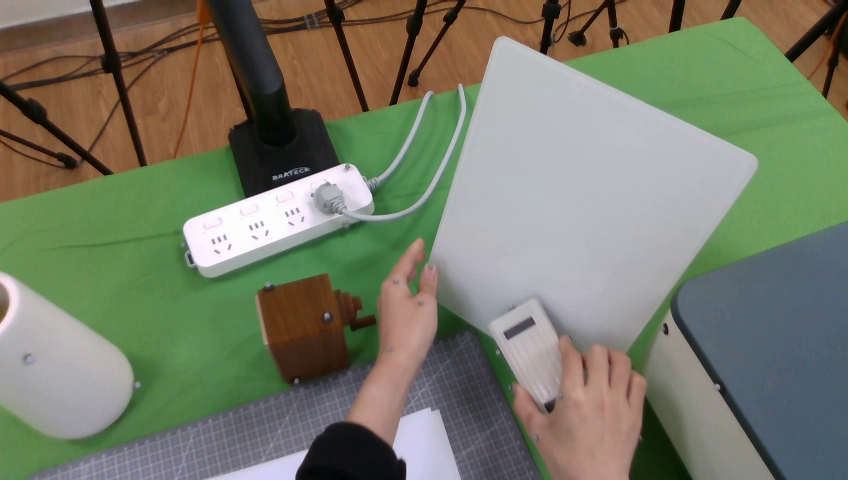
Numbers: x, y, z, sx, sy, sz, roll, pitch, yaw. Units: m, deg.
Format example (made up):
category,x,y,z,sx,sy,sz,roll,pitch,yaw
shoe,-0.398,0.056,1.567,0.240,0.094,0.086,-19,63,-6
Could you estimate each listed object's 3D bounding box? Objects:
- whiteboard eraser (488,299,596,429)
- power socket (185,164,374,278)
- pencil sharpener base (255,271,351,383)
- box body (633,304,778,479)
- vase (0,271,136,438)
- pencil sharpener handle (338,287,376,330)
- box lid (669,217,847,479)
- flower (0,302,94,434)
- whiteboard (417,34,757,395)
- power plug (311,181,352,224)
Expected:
category,x,y,z,sx,sy,sz,roll,pitch,yaw
whiteboard eraser,0.109,0.114,0.565,0.055,0.042,0.112,-29,75,2
power socket,-0.164,-0.025,0.702,0.227,0.033,0.071,-22,62,-15
pencil sharpener base,-0.112,0.086,0.592,0.077,0.108,0.061,-15,59,-11
box body,0.381,0.186,0.515,0.254,0.161,0.360,-18,61,-12
vase,-0.330,0.102,0.521,0.098,0.201,0.097,0,58,0
pencil sharpener handle,-0.063,0.067,0.592,0.031,0.068,0.035,-15,59,-11
box lid,0.382,0.145,0.452,0.264,0.015,0.367,-18,60,-13
flower,-0.329,0.043,0.461,0.038,0.365,0.043,-28,45,-26
whiteboard,0.149,-0.030,0.592,0.216,0.307,0.143,32,44,18
power plug,-0.105,-0.034,0.682,0.035,0.053,0.072,-13,61,-9
